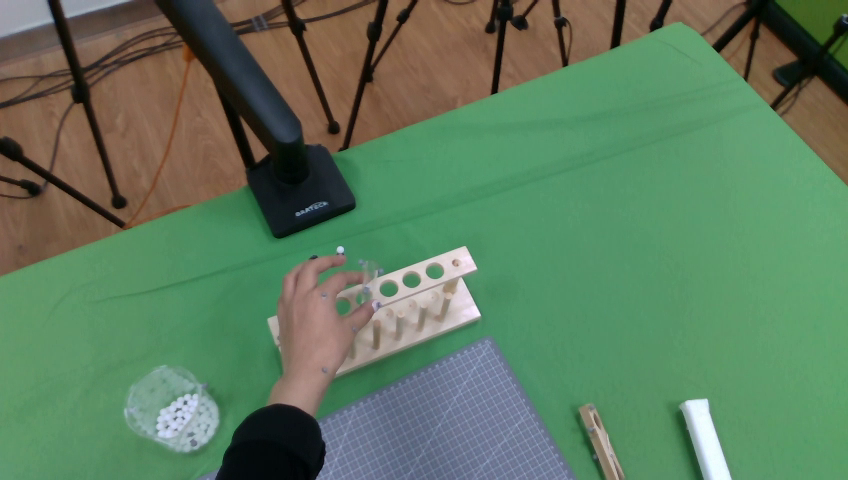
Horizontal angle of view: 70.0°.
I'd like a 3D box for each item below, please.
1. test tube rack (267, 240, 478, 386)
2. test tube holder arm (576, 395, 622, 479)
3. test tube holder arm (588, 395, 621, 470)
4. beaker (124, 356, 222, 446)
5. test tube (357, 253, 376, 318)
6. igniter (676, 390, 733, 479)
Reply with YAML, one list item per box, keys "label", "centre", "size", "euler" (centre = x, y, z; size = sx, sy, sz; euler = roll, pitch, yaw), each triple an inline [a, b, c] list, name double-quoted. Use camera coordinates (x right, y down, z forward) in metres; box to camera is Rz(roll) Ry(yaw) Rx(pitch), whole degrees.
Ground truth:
- label: "test tube rack"
  centre: [-0.052, 0.086, 0.718]
  size: [0.243, 0.086, 0.066]
  euler: [-20, 65, -14]
- label: "test tube holder arm"
  centre: [0.213, 0.261, 0.680]
  size: [0.013, 0.015, 0.177]
  euler: [4, 57, -40]
- label: "test tube holder arm"
  centre: [0.205, 0.223, 0.702]
  size: [0.010, 0.015, 0.087]
  euler: [6, 56, -39]
- label: "beaker"
  centre: [-0.260, 0.178, 0.645]
  size: [0.074, 0.101, 0.083]
  euler: [-21, 66, -14]
- label: "test tube"
  centre: [-0.065, 0.055, 0.677]
  size: [0.017, 0.151, 0.017]
  euler: [3, 61, -6]
- label: "igniter"
  centre: [0.334, 0.302, 0.663]
  size: [0.057, 0.025, 0.274]
  euler: [0, 61, -15]
